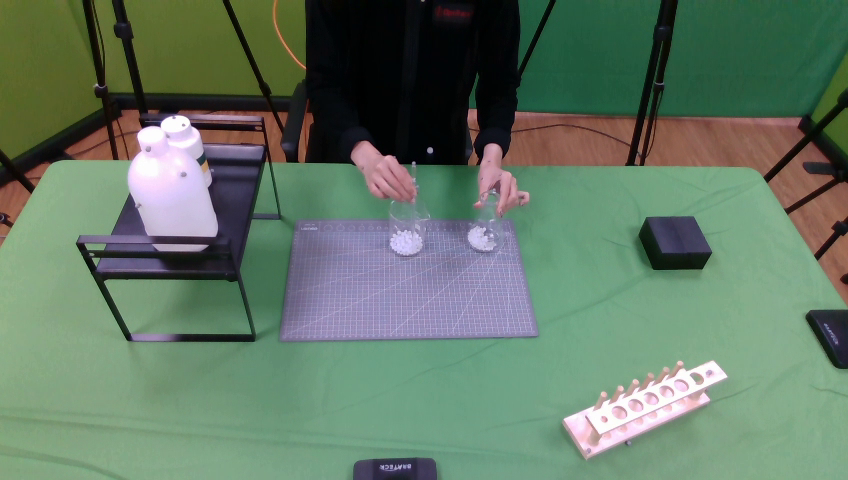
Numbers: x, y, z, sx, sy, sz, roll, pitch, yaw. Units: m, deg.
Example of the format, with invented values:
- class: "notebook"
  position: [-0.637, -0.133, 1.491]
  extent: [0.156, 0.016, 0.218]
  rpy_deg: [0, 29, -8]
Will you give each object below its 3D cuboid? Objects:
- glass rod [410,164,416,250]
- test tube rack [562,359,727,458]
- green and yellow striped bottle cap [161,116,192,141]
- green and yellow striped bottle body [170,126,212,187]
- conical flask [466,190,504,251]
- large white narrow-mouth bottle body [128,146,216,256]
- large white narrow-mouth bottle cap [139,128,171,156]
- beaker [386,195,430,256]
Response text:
- class: "glass rod"
  position: [-0.019, -0.055, 1.110]
  extent: [0.008, 0.201, 0.008]
  rpy_deg: [0, 42, 1]
- class: "test tube rack"
  position: [0.341, 0.247, 0.940]
  extent: [0.243, 0.085, 0.066]
  rpy_deg: [-16, 49, -18]
- class: "green and yellow striped bottle cap"
  position: [-0.387, -0.174, 0.946]
  extent: [0.045, 0.020, 0.045]
  rpy_deg: [3, 44, -3]
- class: "green and yellow striped bottle body"
  position: [-0.389, -0.139, 0.984]
  extent: [0.063, 0.120, 0.063]
  rpy_deg: [2, 46, -2]
- class: "conical flask"
  position: [0.122, -0.040, 1.170]
  extent: [0.075, 0.122, 0.075]
  rpy_deg: [0, 48, 0]
- class: "large white narrow-mouth bottle body"
  position: [-0.366, -0.073, 0.872]
  extent: [0.102, 0.195, 0.101]
  rpy_deg: [3, 47, -3]
- class: "large white narrow-mouth bottle cap"
  position: [-0.358, -0.131, 0.808]
  extent: [0.038, 0.024, 0.037]
  rpy_deg: [3, 47, -3]
- class: "beaker"
  position: [-0.031, -0.024, 1.161]
  extent: [0.084, 0.101, 0.073]
  rpy_deg: [18, 48, 12]
